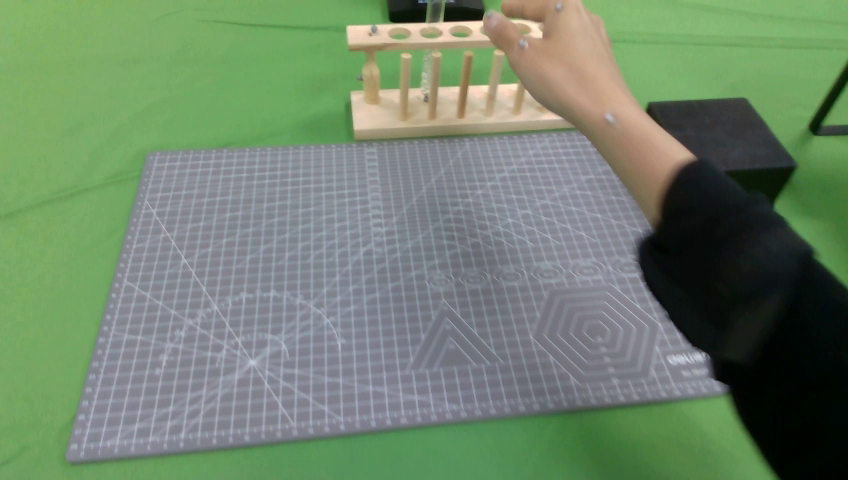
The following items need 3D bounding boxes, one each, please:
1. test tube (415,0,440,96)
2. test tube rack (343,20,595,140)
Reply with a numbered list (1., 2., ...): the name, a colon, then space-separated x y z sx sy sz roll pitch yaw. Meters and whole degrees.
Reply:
1. test tube: 0.005 -0.205 0.573 0.017 0.151 0.017 4 44 -4
2. test tube rack: 0.045 -0.160 0.602 0.243 0.086 0.066 -4 48 -7
